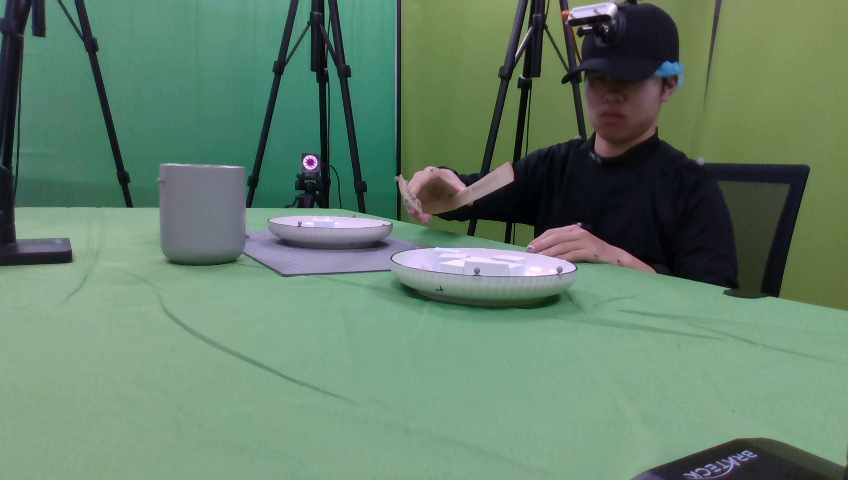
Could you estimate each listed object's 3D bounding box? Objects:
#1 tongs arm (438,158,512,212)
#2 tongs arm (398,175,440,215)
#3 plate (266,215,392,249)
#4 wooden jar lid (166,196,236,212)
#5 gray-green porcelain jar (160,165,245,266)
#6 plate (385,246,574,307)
[{"bbox_3d":[0.069,-0.075,0.905,0.028,0.028,0.387,-15,-1,-9],"label":"tongs arm"},{"bbox_3d":[-0.002,-0.063,0.902,0.051,0.026,0.385,-11,-2,1],"label":"tongs arm"},{"bbox_3d":[-0.159,-0.015,1.019,0.209,0.038,0.209,3,7,0],"label":"plate"},{"bbox_3d":[-0.369,-0.059,1.001,0.108,0.020,0.108,3,6,0],"label":"wooden jar lid"},{"bbox_3d":[-0.291,-0.034,0.799,0.106,0.126,0.106,2,8,0],"label":"gray-green porcelain jar"},{"bbox_3d":[0.060,0.041,0.678,0.208,0.039,0.207,3,7,0],"label":"plate"}]
